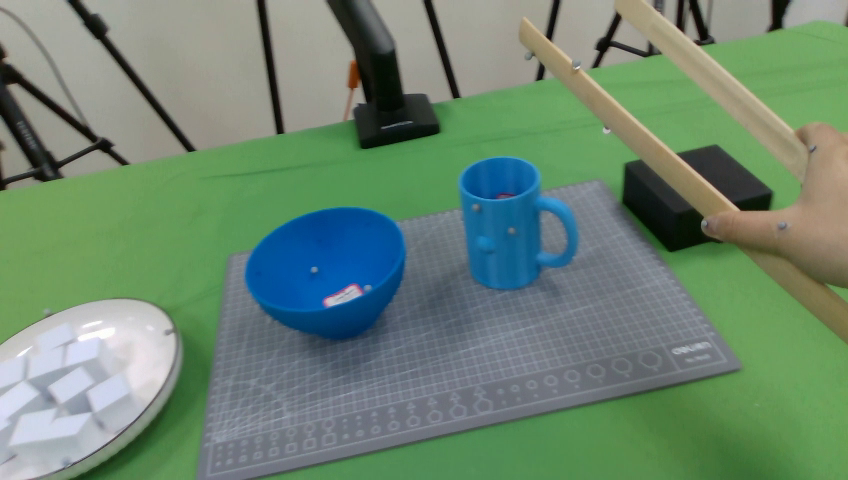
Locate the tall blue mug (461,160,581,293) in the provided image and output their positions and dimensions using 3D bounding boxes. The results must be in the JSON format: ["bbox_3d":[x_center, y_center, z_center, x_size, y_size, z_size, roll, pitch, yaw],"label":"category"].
[{"bbox_3d":[0.094,-0.013,0.593,0.107,0.109,0.077,-4,38,7],"label":"tall blue mug"}]

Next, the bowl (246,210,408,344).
[{"bbox_3d":[-0.084,0.046,0.581,0.151,0.077,0.150,-6,38,5],"label":"bowl"}]

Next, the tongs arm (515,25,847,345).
[{"bbox_3d":[0.191,-0.043,0.412,0.051,0.027,0.380,-23,57,-19],"label":"tongs arm"}]

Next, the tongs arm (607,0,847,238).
[{"bbox_3d":[0.240,-0.064,0.428,0.028,0.028,0.383,-17,56,-18],"label":"tongs arm"}]

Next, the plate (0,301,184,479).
[{"bbox_3d":[-0.319,0.140,0.548,0.209,0.038,0.207,-5,38,4],"label":"plate"}]
